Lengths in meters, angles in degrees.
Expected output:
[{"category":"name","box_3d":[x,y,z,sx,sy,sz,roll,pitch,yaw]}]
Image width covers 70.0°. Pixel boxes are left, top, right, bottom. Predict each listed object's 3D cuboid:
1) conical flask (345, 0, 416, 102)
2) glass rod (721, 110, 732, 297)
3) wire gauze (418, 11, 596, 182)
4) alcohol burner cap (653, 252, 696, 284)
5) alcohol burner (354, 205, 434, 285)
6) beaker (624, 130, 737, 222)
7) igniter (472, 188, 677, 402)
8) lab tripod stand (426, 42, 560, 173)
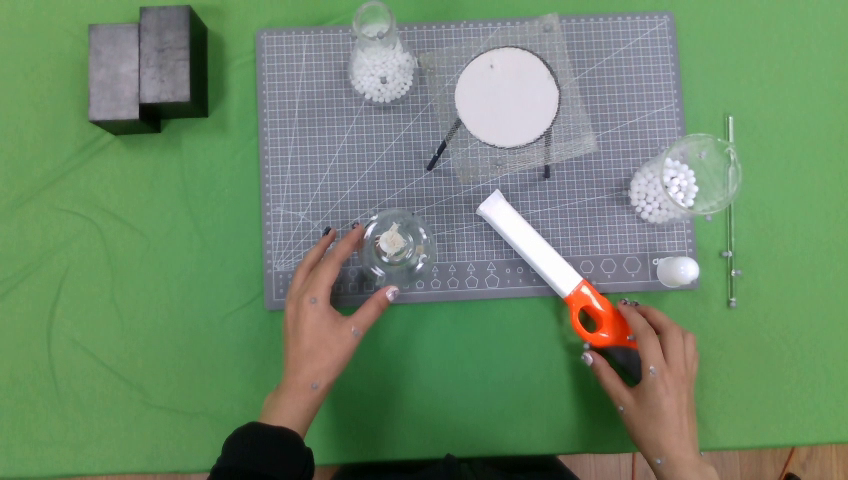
[{"category":"conical flask","box_3d":[-0.046,-0.187,0.586,0.075,0.122,0.075,0,84,0]},{"category":"glass rod","box_3d":[0.319,-0.040,0.638,0.008,0.008,0.199,1,85,-1]},{"category":"wire gauze","box_3d":[0.070,-0.120,0.509,0.125,0.011,0.121,-16,86,-1]},{"category":"alcohol burner cap","box_3d":[0.256,0.027,0.612,0.034,0.048,0.034,0,84,-1]},{"category":"alcohol burner","box_3d":[-0.030,0.003,0.575,0.078,0.119,0.077,0,83,2]},{"category":"beaker","box_3d":[0.246,-0.059,0.591,0.084,0.100,0.074,-40,86,-4]},{"category":"igniter","box_3d":[0.156,0.055,0.618,0.276,0.025,0.057,46,70,2]},{"category":"lab tripod stand","box_3d":[0.068,-0.115,0.576,0.148,0.131,0.148,0,87,0]}]
